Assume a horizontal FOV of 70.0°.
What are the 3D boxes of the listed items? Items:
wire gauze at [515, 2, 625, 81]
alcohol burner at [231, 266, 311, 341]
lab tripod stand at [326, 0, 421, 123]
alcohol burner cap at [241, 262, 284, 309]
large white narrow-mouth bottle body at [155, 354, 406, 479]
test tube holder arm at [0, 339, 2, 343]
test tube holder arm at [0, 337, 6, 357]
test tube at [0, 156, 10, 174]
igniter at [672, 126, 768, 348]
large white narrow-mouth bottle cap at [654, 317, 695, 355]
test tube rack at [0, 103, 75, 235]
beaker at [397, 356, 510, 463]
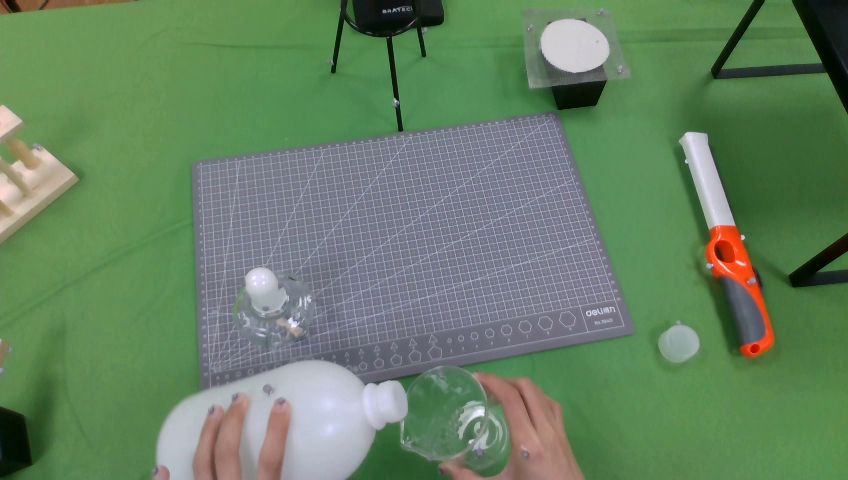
[{"bbox_3d":[0.177,-0.248,0.748,0.121,0.011,0.124,-2,65,-3],"label":"wire gauze"},{"bbox_3d":[-0.151,0.055,0.586,0.078,0.120,0.077,2,63,-3],"label":"alcohol burner"},{"bbox_3d":[-0.051,-0.235,0.718,0.148,0.132,0.147,2,65,-3],"label":"lab tripod stand"},{"bbox_3d":[-0.150,0.039,0.553,0.034,0.048,0.033,-1,60,1],"label":"alcohol burner cap"},{"bbox_3d":[-0.106,0.145,0.480,0.194,0.103,0.101,-20,64,16],"label":"large white narrow-mouth bottle body"},{"bbox_3d":[-0.406,0.129,0.546,0.010,0.015,0.087,-3,63,11],"label":"test tube holder arm"},{"bbox_3d":[-0.401,0.169,0.525,0.013,0.015,0.177,-4,63,10],"label":"test tube holder arm"},{"bbox_3d":[-0.472,-0.111,0.614,0.017,0.151,0.017,-1,63,1],"label":"test tube"},{"bbox_3d":[0.333,-0.012,0.686,0.057,0.025,0.274,1,64,-13],"label":"igniter"},{"bbox_3d":[0.262,0.100,0.636,0.038,0.024,0.037,1,64,-1],"label":"large white narrow-mouth bottle cap"},{"bbox_3d":[-0.503,-0.027,0.629,0.066,0.086,0.242,36,69,14],"label":"test tube rack"},{"bbox_3d":[0.028,0.153,0.523,0.084,0.101,0.073,-38,57,1],"label":"beaker"}]
